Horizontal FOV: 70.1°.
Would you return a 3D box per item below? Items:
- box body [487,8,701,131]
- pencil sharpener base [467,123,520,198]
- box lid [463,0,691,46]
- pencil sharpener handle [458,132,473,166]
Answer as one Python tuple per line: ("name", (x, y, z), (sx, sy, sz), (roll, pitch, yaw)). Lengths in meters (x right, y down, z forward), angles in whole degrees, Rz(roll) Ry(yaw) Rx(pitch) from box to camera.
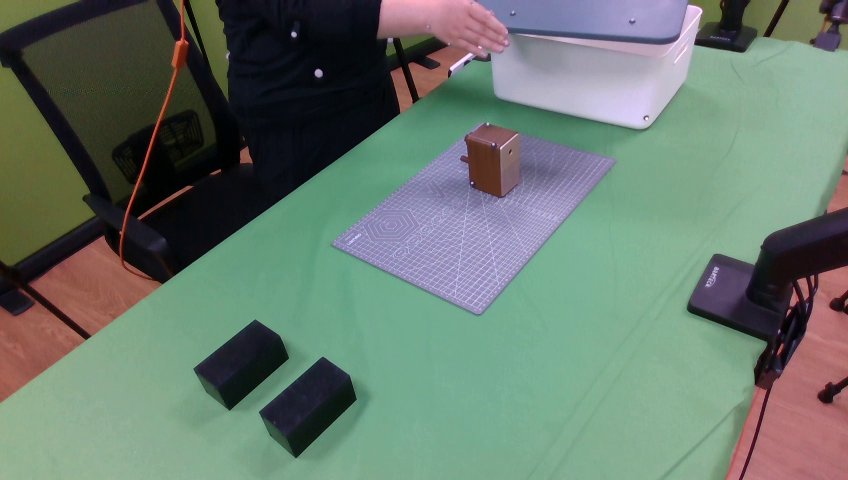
("box body", (0.345, -0.379, 1.257), (0.361, 0.161, 0.255), (20, 48, 29))
("pencil sharpener base", (0.119, -0.138, 1.044), (0.076, 0.107, 0.061), (23, 49, 32))
("box lid", (0.280, -0.425, 1.089), (0.369, 0.015, 0.263), (11, 48, 20))
("pencil sharpener handle", (0.075, -0.162, 1.061), (0.030, 0.068, 0.036), (23, 36, 32))
